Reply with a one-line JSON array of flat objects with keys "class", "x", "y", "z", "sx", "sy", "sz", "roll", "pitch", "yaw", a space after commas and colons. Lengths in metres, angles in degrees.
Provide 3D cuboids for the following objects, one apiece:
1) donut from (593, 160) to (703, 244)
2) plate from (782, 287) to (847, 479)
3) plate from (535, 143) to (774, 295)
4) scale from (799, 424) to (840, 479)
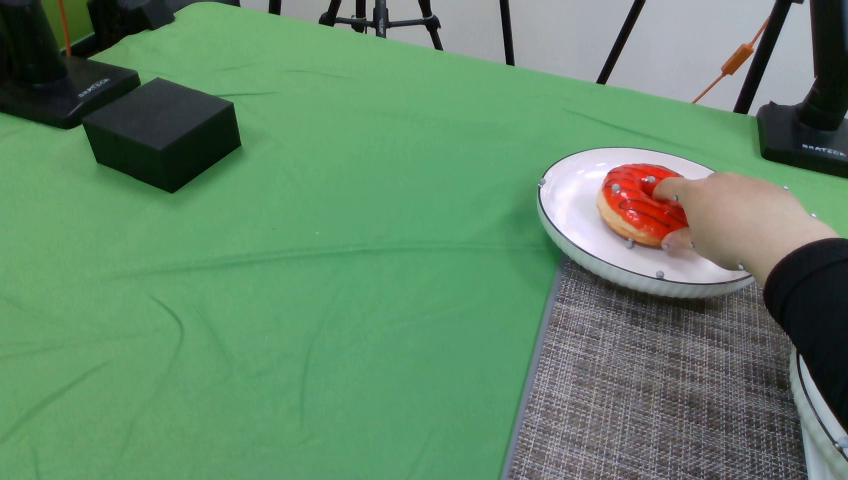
[{"class": "donut", "x": 0.206, "y": -0.035, "z": 0.557, "sx": 0.099, "sy": 0.048, "sz": 0.098, "roll": 5, "pitch": 43, "yaw": -5}, {"class": "plate", "x": 0.327, "y": 0.115, "z": 0.374, "sx": 0.208, "sy": 0.039, "sz": 0.205, "roll": 3, "pitch": 43, "yaw": -3}, {"class": "plate", "x": 0.204, "y": -0.020, "z": 0.557, "sx": 0.209, "sy": 0.038, "sz": 0.207, "roll": 3, "pitch": 40, "yaw": -2}, {"class": "scale", "x": 0.318, "y": 0.154, "z": 0.380, "sx": 0.148, "sy": 0.032, "sz": 0.199, "roll": 15, "pitch": 44, "yaw": 12}]
